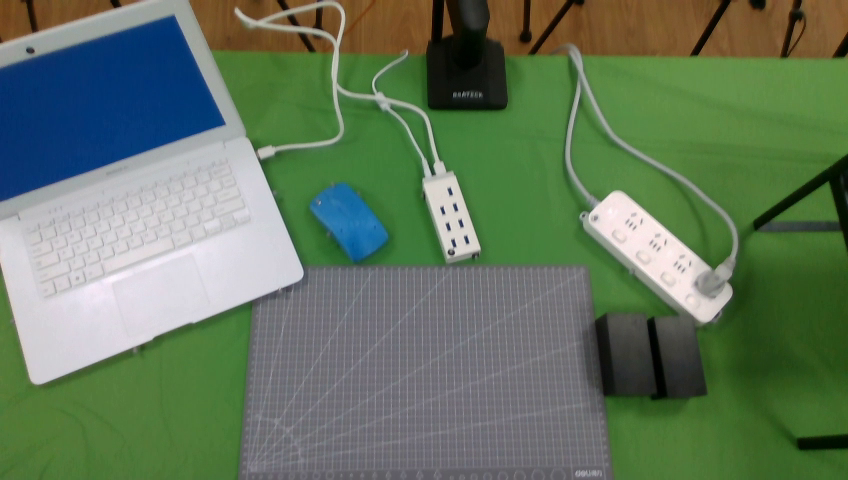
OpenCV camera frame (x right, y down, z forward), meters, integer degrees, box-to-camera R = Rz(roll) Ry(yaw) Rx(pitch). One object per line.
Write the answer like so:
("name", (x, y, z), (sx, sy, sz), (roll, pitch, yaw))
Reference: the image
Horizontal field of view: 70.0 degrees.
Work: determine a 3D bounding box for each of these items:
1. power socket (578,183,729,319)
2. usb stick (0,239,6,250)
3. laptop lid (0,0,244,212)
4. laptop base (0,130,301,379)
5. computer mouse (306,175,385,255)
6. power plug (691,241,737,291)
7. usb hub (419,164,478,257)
("power socket", (0.312, 0.014, 0.825), (0.072, 0.033, 0.225), (-42, 77, -15))
("usb stick", (-0.572, 0.013, 0.777), (0.059, 0.027, 0.021), (-22, 76, -15))
("laptop lid", (-0.423, -0.159, 0.736), (0.357, 0.244, 0.013), (-23, 58, -9))
("laptop base", (-0.366, 0.008, 0.802), (0.354, 0.023, 0.234), (-22, 76, -10))
("computer mouse", (-0.107, -0.037, 0.820), (0.063, 0.041, 0.116), (-36, 72, -12))
("power plug", (0.386, 0.039, 0.800), (0.072, 0.053, 0.035), (-30, 74, -14))
("usb hub", (0.032, -0.042, 0.835), (0.049, 0.025, 0.124), (-15, 72, -7))
